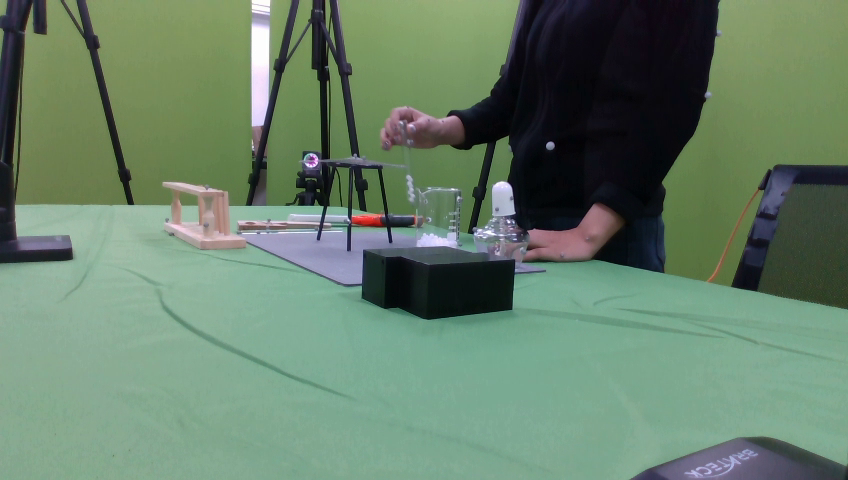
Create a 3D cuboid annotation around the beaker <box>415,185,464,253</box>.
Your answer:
[{"bbox_3d":[0.020,-0.033,0.938,0.073,0.100,0.084,7,9,36],"label":"beaker"}]

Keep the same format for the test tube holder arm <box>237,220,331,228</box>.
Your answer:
[{"bbox_3d":[-0.260,-0.029,1.140,0.179,0.015,0.013,-2,41,-32],"label":"test tube holder arm"}]

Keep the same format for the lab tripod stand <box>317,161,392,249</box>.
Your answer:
[{"bbox_3d":[-0.111,-0.059,0.963,0.148,0.131,0.148,4,8,0],"label":"lab tripod stand"}]

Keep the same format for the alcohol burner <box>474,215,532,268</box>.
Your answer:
[{"bbox_3d":[0.107,-0.022,0.819,0.078,0.119,0.078,1,9,0],"label":"alcohol burner"}]

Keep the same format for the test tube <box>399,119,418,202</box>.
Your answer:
[{"bbox_3d":[-0.027,-0.141,1.080,0.017,0.150,0.017,-6,19,2],"label":"test tube"}]

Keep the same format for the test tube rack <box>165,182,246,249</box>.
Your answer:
[{"bbox_3d":[-0.360,-0.045,0.983,0.067,0.085,0.241,-3,9,-34],"label":"test tube rack"}]

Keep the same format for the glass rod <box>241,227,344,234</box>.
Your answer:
[{"bbox_3d":[-0.239,-0.019,1.119,0.201,0.008,0.008,-3,9,-34],"label":"glass rod"}]

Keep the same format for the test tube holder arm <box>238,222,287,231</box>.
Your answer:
[{"bbox_3d":[-0.296,-0.024,1.112,0.088,0.015,0.010,-2,41,-32],"label":"test tube holder arm"}]

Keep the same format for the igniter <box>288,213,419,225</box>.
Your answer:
[{"bbox_3d":[-0.145,-0.044,1.278,0.278,0.025,0.057,0,-2,-21],"label":"igniter"}]

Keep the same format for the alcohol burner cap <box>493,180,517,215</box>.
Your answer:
[{"bbox_3d":[0.107,-0.057,0.813,0.034,0.048,0.034,-6,11,2],"label":"alcohol burner cap"}]

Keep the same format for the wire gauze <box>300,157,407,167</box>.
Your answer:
[{"bbox_3d":[-0.112,-0.126,0.959,0.121,0.011,0.126,11,11,41],"label":"wire gauze"}]
